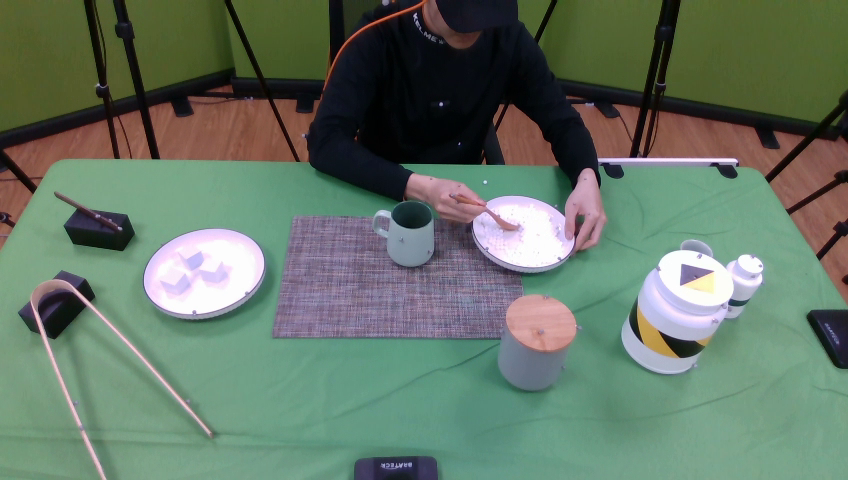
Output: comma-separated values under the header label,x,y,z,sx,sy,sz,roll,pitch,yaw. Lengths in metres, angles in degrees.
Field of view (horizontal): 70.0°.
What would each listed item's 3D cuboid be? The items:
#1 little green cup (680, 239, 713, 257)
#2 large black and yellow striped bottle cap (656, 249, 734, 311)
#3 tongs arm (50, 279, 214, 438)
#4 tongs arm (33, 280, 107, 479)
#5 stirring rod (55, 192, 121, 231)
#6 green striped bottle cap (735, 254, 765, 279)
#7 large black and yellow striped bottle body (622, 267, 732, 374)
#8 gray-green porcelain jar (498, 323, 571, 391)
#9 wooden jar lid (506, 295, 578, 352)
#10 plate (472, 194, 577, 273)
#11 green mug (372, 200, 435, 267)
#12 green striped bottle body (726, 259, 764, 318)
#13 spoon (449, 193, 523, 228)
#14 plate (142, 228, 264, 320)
label,x,y,z,sx,sy,sz,roll,pitch,yaw
little green cup,0.530,0.033,1.189,0.061,0.039,0.061,2,48,-2
large black and yellow striped bottle cap,0.419,0.061,0.938,0.115,0.019,0.114,2,47,-2
tongs arm,-0.459,0.178,0.949,0.386,0.028,0.028,37,60,17
tongs arm,-0.517,0.214,0.910,0.051,0.026,0.383,-28,63,-27
stirring rod,-0.632,-0.055,1.139,0.175,0.014,0.006,24,50,19
green striped bottle cap,0.566,0.046,1.051,0.044,0.020,0.044,0,45,0
large black and yellow striped bottle body,0.415,0.119,0.997,0.131,0.185,0.130,2,46,-2
gray-green porcelain jar,0.176,0.172,0.971,0.106,0.127,0.105,2,46,-2
wooden jar lid,0.179,0.130,0.925,0.108,0.021,0.107,2,43,-2
plate,0.196,-0.010,1.205,0.209,0.038,0.208,4,46,-4
green mug,-0.040,-0.016,1.146,0.125,0.105,0.092,17,48,13
green striped bottle body,0.563,0.081,1.089,0.063,0.120,0.063,2,46,-2
spoon,0.120,-0.058,1.174,0.195,0.021,0.041,24,-4,-35
plate,-0.394,0.064,1.095,0.208,0.039,0.206,2,46,-2
